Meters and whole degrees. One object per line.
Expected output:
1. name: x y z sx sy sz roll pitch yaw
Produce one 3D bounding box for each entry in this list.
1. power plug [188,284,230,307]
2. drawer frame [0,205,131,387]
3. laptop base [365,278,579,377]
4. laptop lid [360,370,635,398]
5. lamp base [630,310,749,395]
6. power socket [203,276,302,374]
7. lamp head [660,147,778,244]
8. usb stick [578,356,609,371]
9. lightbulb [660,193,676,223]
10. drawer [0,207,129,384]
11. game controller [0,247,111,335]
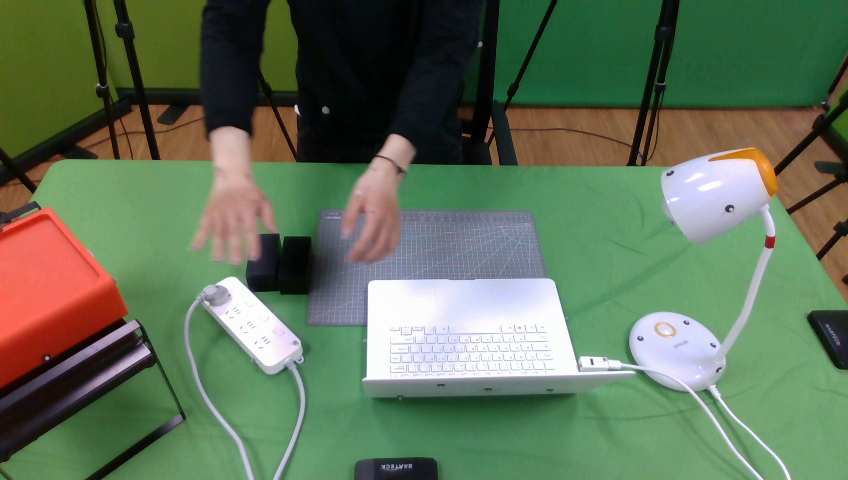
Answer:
1. power plug: -0.368 0.100 1.036 0.072 0.053 0.035 -26 54 -24
2. drawer frame: -0.540 0.075 0.795 0.200 0.083 0.213 36 54 26
3. laptop base: 0.076 0.161 1.053 0.355 0.023 0.234 0 44 -4
4. laptop lid: 0.090 0.208 0.863 0.357 0.242 0.013 0 71 -6
5. lamp base: 0.447 0.142 0.984 0.161 0.181 0.178 -24 55 -24
6. power socket: -0.296 0.142 1.034 0.072 0.033 0.225 -34 58 -31
7. lamp head: 0.389 -0.063 0.785 0.123 0.113 0.112 -22 33 37
8. usb stick: 0.274 0.207 1.007 0.059 0.027 0.021 0 52 0
9. lightbulb: 0.366 -0.060 0.806 0.060 0.107 0.059 17 61 -32
10. drawer: -0.539 0.074 0.798 0.193 0.073 0.211 37 55 27
11. game controller: -0.511 0.063 0.830 0.097 0.052 0.154 -29 57 -33
